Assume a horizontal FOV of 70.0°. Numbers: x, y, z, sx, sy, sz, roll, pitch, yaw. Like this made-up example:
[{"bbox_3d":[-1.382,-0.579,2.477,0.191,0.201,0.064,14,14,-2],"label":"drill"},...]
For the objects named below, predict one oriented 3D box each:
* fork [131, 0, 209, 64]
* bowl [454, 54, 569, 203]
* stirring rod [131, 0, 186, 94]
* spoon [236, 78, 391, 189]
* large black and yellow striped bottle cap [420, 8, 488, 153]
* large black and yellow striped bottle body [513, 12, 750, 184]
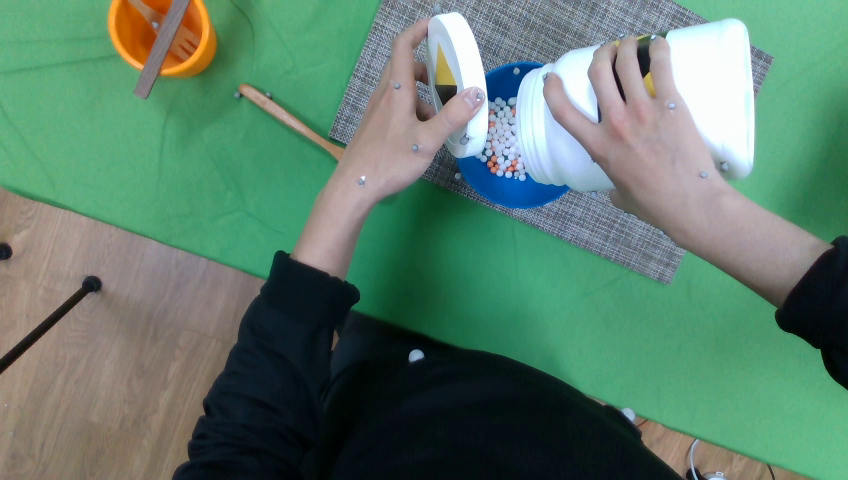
[{"bbox_3d":[-0.280,-0.235,0.555,0.028,0.018,0.209,-45,145,3],"label":"fork"},{"bbox_3d":[0.096,-0.118,0.659,0.152,0.076,0.151,-1,99,-7],"label":"bowl"},{"bbox_3d":[-0.231,-0.218,0.562,0.014,0.006,0.176,25,95,-12],"label":"stirring rod"},{"bbox_3d":[-0.119,-0.119,0.660,0.194,0.021,0.042,33,107,-12],"label":"spoon"},{"bbox_3d":[0.022,-0.129,0.499,0.019,0.114,0.115,-13,100,-15],"label":"large black and yellow striped bottle cap"},{"bbox_3d":[0.184,-0.118,0.539,0.183,0.131,0.131,-1,100,30],"label":"large black and yellow striped bottle body"}]
